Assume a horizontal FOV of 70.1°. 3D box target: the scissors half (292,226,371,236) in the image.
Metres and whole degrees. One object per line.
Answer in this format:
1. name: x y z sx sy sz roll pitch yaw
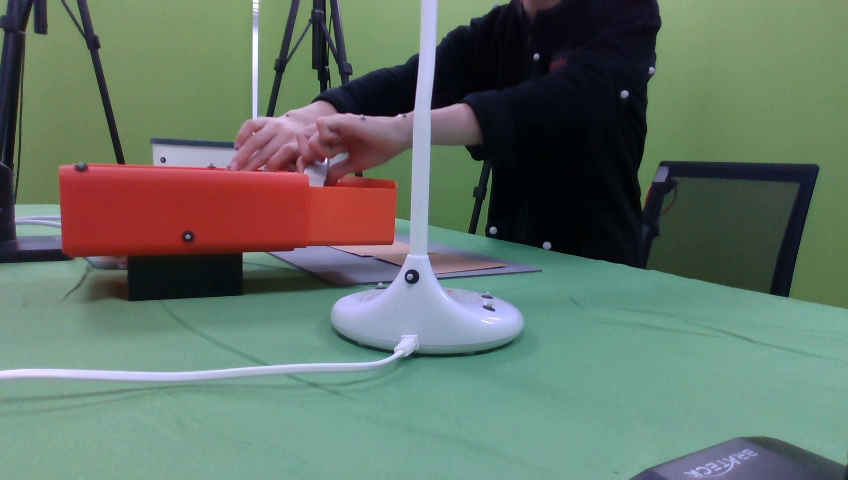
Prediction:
1. scissors half: -0.166 -0.015 1.094 0.040 0.013 0.176 2 6 39

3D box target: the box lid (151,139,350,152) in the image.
1. box lid: -0.352 -0.191 1.255 0.373 0.015 0.262 0 8 -18

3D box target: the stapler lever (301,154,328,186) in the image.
1. stapler lever: -0.125 -0.059 0.673 0.027 0.040 0.118 3 30 -5

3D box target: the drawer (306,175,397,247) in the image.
1. drawer: -0.161 -0.037 0.674 0.213 0.073 0.193 -2 9 -26

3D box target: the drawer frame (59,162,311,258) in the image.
1. drawer frame: -0.245 -0.038 0.630 0.215 0.082 0.200 -2 9 -26

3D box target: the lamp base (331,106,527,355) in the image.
1. lamp base: 0.006 -0.012 0.478 0.161 0.180 0.179 2 10 2

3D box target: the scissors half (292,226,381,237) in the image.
1. scissors half: -0.153 -0.015 1.079 0.176 0.013 0.040 -7 1 -33

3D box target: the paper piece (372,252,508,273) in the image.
1. paper piece: 0.021 0.029 0.829 0.139 0.008 0.135 -1 11 -37

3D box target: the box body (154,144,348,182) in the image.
1. box body: -0.357 -0.119 1.264 0.365 0.160 0.253 0 7 -18

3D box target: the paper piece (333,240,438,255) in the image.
1. paper piece: -0.068 0.011 0.936 0.136 0.004 0.134 -2 9 -33

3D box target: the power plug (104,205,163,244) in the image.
1. power plug: -0.390 -0.021 0.815 0.073 0.052 0.035 -1 7 -28

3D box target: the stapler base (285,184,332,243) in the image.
1. stapler base: -0.129 -0.039 0.687 0.041 0.024 0.130 3 31 -5

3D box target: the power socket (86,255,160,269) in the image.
1. power socket: -0.409 0.004 0.793 0.072 0.032 0.225 -2 8 -38
